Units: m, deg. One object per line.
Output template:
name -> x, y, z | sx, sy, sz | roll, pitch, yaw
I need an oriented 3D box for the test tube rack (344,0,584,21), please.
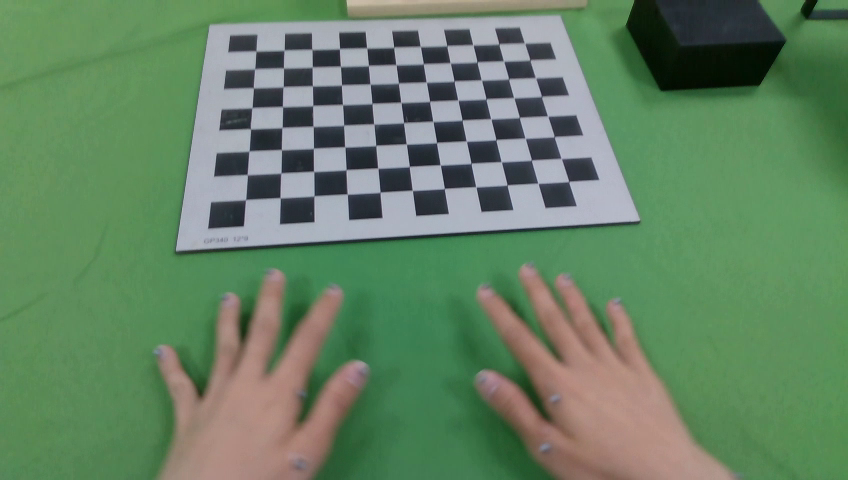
test tube rack -> 0.040, -0.277, 0.595 | 0.243, 0.086, 0.066 | -5, 54, -7
